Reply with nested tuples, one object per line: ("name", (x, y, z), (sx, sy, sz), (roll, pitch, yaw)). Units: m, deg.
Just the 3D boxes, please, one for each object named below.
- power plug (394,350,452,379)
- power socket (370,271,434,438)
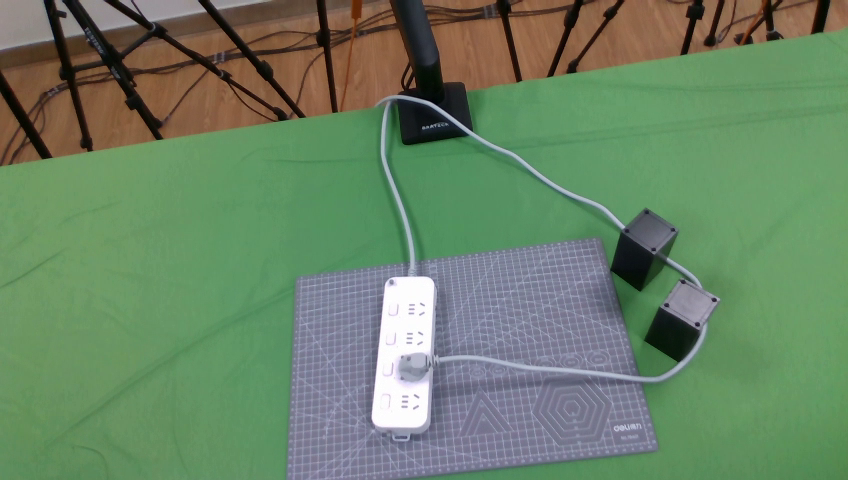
("power plug", (-0.002, 0.160, 0.762), (0.072, 0.053, 0.035), (9, 61, 11))
("power socket", (-0.027, 0.142, 0.798), (0.072, 0.033, 0.224), (-1, 59, 7))
